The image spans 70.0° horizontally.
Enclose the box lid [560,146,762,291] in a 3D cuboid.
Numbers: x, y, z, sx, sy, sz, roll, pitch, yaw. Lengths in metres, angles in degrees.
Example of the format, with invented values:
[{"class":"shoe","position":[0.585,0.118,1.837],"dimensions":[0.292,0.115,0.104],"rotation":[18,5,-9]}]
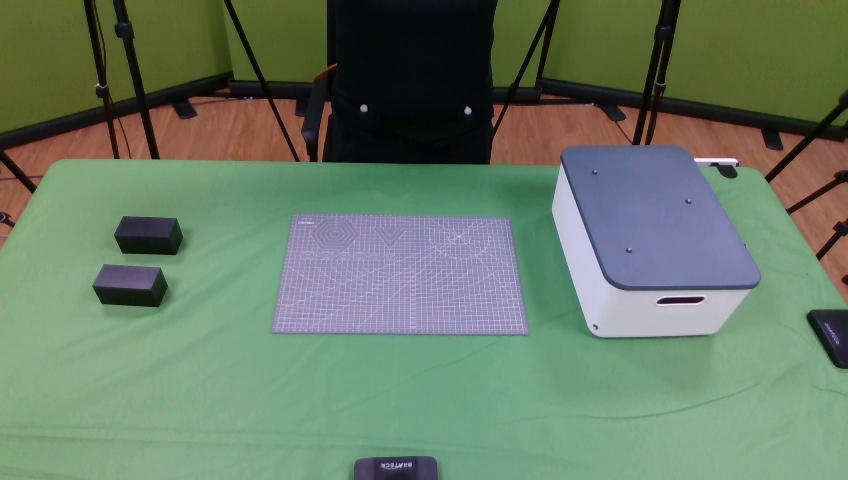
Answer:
[{"class":"box lid","position":[0.404,-0.052,1.076],"dimensions":[0.263,0.015,0.369],"rotation":[-1,45,-5]}]

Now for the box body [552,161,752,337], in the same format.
[{"class":"box body","position":[0.401,-0.001,1.131],"dimensions":[0.254,0.161,0.361],"rotation":[-1,46,-5]}]
